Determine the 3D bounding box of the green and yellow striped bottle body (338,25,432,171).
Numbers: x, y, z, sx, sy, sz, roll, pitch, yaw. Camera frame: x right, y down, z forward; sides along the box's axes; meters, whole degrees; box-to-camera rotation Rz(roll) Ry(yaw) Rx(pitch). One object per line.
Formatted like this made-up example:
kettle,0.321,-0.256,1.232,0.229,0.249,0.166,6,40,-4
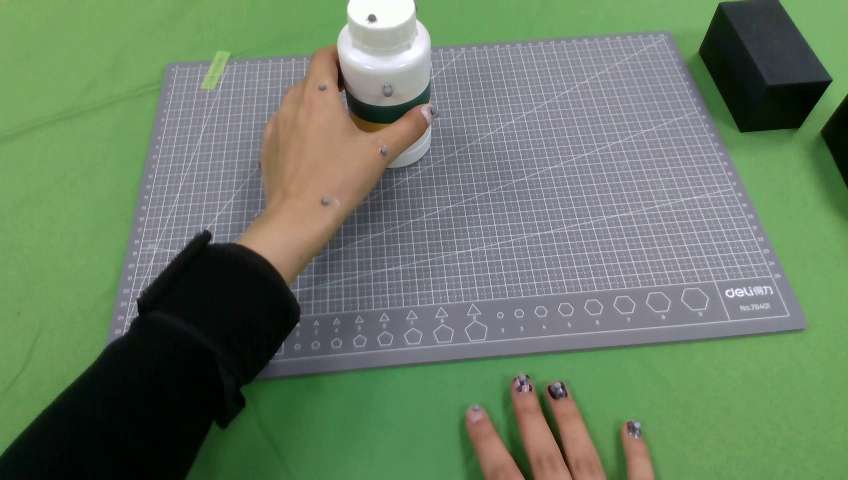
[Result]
green and yellow striped bottle body,-0.026,-0.110,0.431,0.063,0.120,0.062,0,57,1

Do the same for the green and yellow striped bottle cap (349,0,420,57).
green and yellow striped bottle cap,-0.025,-0.139,0.388,0.045,0.020,0.045,-1,58,2
